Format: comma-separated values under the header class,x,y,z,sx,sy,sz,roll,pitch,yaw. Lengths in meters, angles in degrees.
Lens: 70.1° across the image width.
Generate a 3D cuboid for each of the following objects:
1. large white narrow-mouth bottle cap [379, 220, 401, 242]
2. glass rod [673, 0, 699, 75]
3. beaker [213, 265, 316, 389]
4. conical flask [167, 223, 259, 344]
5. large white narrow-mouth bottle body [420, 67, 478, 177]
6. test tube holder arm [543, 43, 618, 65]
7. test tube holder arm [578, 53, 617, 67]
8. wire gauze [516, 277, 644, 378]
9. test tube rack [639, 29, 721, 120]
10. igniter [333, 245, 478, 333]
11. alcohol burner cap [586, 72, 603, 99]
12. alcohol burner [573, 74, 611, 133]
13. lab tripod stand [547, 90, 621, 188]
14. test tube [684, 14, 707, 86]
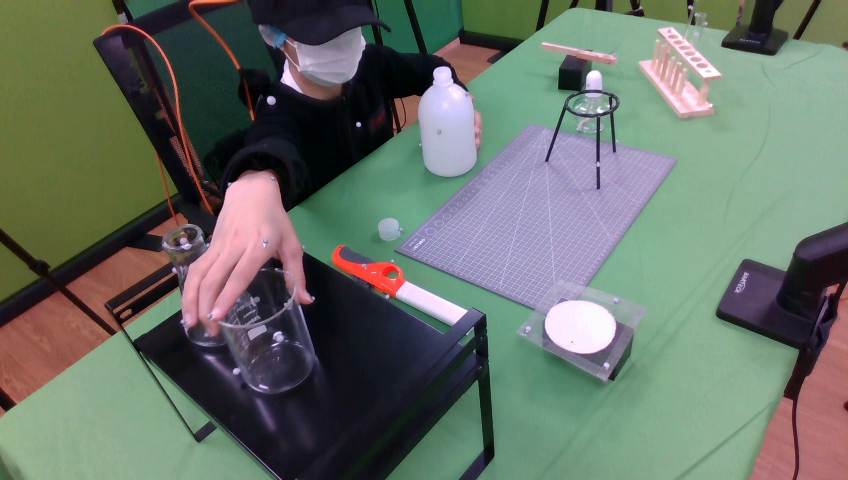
class,x,y,z,sx,sy,sz,roll,pitch,yaw
large white narrow-mouth bottle cap,-0.057,-0.015,1.011,0.038,0.024,0.037,-4,40,4
glass rod,0.541,-0.427,1.246,0.008,0.200,0.008,0,48,1
beaker,-0.143,0.083,0.568,0.073,0.100,0.084,22,47,30
conical flask,-0.220,0.041,0.613,0.075,0.122,0.075,-4,40,4
large white narrow-mouth bottle body,0.044,-0.219,1.100,0.102,0.195,0.101,-4,40,4
test tube holder arm,0.345,-0.413,1.340,0.177,0.015,0.013,25,50,31
test tube holder arm,0.376,-0.393,1.314,0.087,0.015,0.010,26,51,32
wire gauze,0.197,0.103,0.765,0.124,0.011,0.122,23,50,32
test tube rack,0.527,-0.351,1.262,0.067,0.085,0.241,-8,40,1
igniter,-0.038,0.068,0.905,0.274,0.025,0.057,24,60,32
alcohol burner cap,0.325,-0.297,1.154,0.034,0.048,0.033,-8,35,6
alcohol burner,0.330,-0.270,1.176,0.078,0.119,0.077,-4,43,4
lab tripod stand,0.289,-0.184,1.062,0.148,0.132,0.147,-6,41,6
test tube,0.541,-0.379,1.216,0.017,0.151,0.017,-2,44,2
